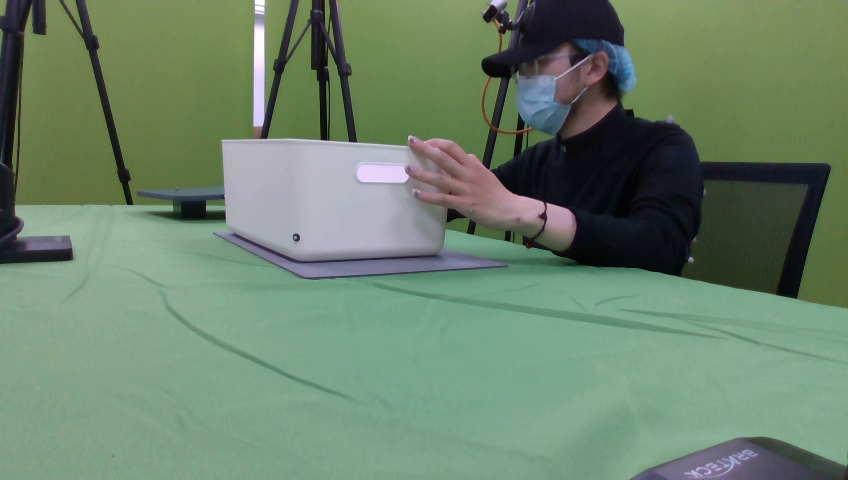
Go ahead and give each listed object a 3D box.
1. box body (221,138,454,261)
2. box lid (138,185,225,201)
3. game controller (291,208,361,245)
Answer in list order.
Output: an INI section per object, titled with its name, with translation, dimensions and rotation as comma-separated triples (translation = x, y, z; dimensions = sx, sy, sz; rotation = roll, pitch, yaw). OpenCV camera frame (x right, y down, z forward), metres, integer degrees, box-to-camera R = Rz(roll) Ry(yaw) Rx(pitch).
[box body]
translation = -0.152, -0.074, 0.963
dimensions = 0.255, 0.160, 0.362
rotation = -3, 9, -33
[box lid]
translation = -0.432, -0.113, 1.394
dimensions = 0.373, 0.015, 0.262
rotation = -9, 12, -44
[game controller]
translation = -0.160, -0.023, 0.967
dimensions = 0.097, 0.051, 0.154
rotation = -5, 9, -15
